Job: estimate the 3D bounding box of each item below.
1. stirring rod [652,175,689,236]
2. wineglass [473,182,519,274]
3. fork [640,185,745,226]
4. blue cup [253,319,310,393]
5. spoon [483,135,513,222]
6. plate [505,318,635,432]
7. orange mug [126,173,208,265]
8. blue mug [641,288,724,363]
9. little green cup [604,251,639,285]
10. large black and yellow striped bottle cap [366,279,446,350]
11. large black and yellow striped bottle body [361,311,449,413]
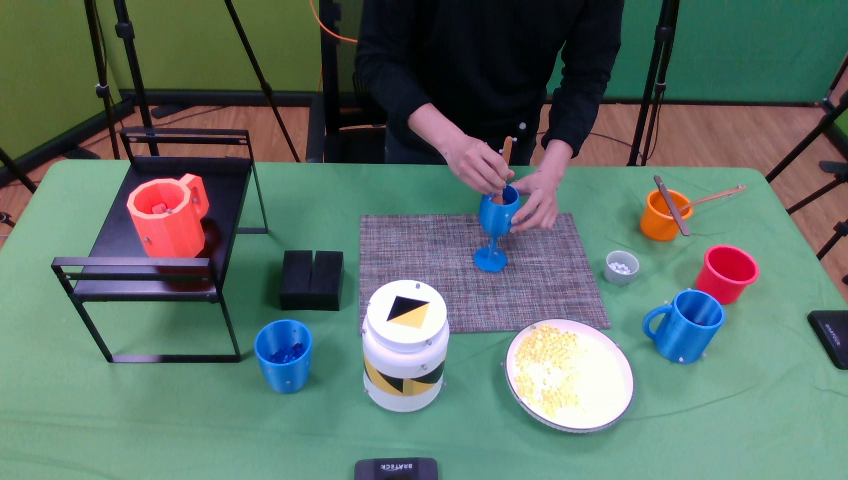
[{"bbox_3d":[0.491,-0.072,1.212,0.014,0.006,0.175,-1,47,-5],"label":"stirring rod"},{"bbox_3d":[0.131,-0.022,1.117,0.074,0.173,0.073,2,46,-2],"label":"wineglass"},{"bbox_3d":[0.534,-0.068,1.215,0.207,0.019,0.028,-26,27,33],"label":"fork"},{"bbox_3d":[-0.217,0.187,0.943,0.093,0.101,0.092,4,45,-3],"label":"blue cup"},{"bbox_3d":[0.130,-0.100,1.032,0.041,0.194,0.021,23,46,18],"label":"spoon"},{"bbox_3d":[0.235,0.221,0.991,0.209,0.038,0.208,2,45,-2],"label":"plate"},{"bbox_3d":[-0.371,-0.039,0.902,0.083,0.101,0.126,18,52,13],"label":"orange mug"},{"bbox_3d":[0.432,0.144,1.033,0.116,0.106,0.082,8,46,4],"label":"blue mug"},{"bbox_3d":[0.375,0.055,1.161,0.061,0.039,0.061,3,46,-2],"label":"little green cup"},{"bbox_3d":[-0.025,0.104,0.864,0.115,0.019,0.114,3,48,-3],"label":"large black and yellow striped bottle cap"},{"bbox_3d":[-0.031,0.163,0.924,0.131,0.185,0.130,2,46,-2],"label":"large black and yellow striped bottle body"}]
